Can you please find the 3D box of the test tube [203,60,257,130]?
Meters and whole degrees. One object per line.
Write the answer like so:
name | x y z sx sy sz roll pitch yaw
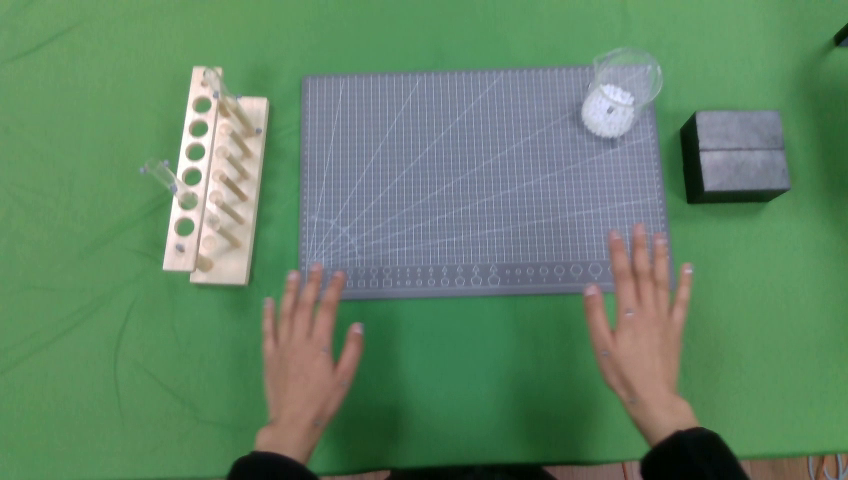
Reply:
test tube | -0.218 -0.161 0.687 0.017 0.151 0.017 0 76 1

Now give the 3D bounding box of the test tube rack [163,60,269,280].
test tube rack | -0.241 -0.080 0.716 0.067 0.085 0.241 3 77 2

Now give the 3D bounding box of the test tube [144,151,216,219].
test tube | -0.261 -0.056 0.660 0.017 0.151 0.017 -1 70 3

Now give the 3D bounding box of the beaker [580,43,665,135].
beaker | 0.228 -0.176 0.720 0.083 0.101 0.074 35 80 10
